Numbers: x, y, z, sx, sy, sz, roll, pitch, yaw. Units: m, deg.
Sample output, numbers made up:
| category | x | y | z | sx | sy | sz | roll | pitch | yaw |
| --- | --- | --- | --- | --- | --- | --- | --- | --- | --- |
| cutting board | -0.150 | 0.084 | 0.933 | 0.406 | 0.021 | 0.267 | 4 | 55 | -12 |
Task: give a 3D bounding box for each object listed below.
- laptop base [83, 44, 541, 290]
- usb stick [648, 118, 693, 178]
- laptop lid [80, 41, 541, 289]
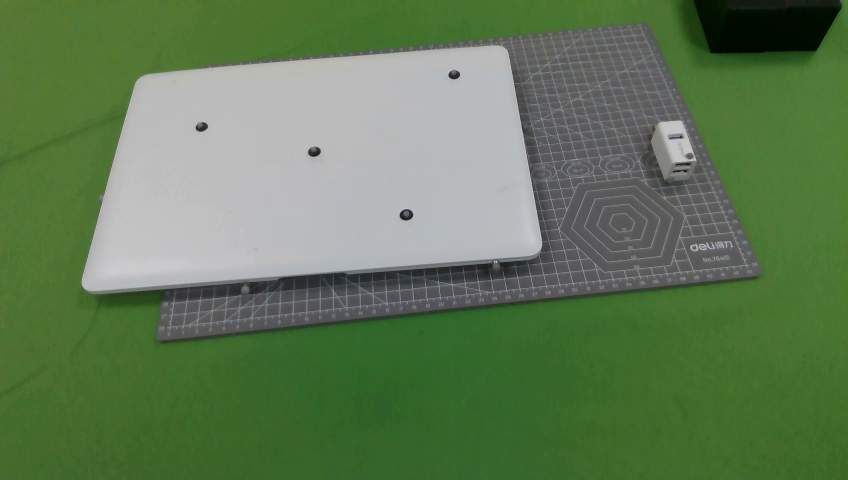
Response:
| category | x | y | z | sx | sy | sz | roll | pitch | yaw |
| --- | --- | --- | --- | --- | --- | --- | --- | --- | --- |
| laptop base | -0.092 | -0.070 | 0.522 | 0.354 | 0.023 | 0.233 | -4 | 60 | 1 |
| usb stick | 0.203 | -0.082 | 0.505 | 0.021 | 0.027 | 0.058 | -5 | 54 | 2 |
| laptop lid | -0.092 | -0.075 | 0.511 | 0.357 | 0.013 | 0.239 | -3 | 59 | 2 |
